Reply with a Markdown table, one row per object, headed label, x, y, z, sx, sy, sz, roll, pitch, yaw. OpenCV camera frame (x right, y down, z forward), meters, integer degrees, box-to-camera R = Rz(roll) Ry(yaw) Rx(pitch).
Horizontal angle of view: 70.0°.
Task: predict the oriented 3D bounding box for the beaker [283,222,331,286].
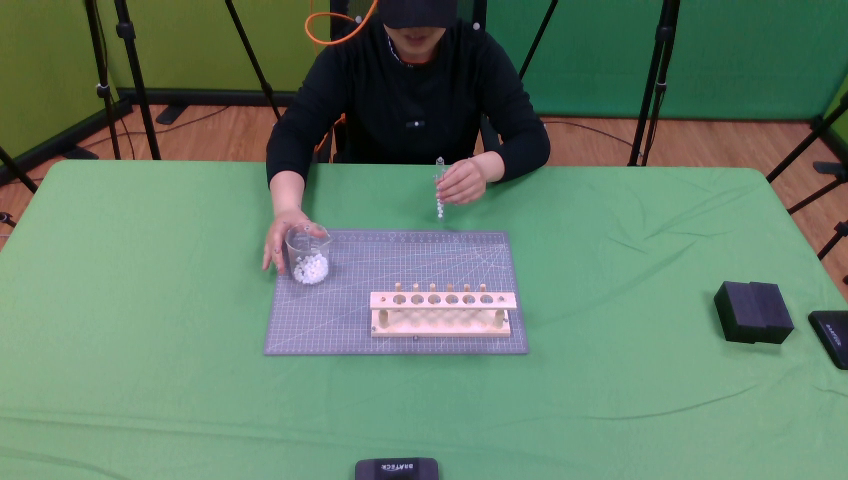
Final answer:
| label | x | y | z | sx | sy | sz | roll | pitch | yaw |
| --- | --- | --- | --- | --- | --- | --- | --- | --- | --- |
| beaker | -0.208 | 0.028 | 1.099 | 0.084 | 0.101 | 0.073 | 2 | 46 | -4 |

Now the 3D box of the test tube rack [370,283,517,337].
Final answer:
| label | x | y | z | sx | sy | sz | roll | pitch | yaw |
| --- | --- | --- | --- | --- | --- | --- | --- | --- | --- |
| test tube rack | 0.030 | 0.116 | 1.041 | 0.242 | 0.085 | 0.066 | 1 | 46 | -4 |

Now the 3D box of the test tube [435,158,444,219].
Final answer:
| label | x | y | z | sx | sy | sz | roll | pitch | yaw |
| --- | --- | --- | --- | --- | --- | --- | --- | --- | --- |
| test tube | 0.031 | -0.097 | 1.183 | 0.017 | 0.151 | 0.017 | -1 | 45 | 1 |
